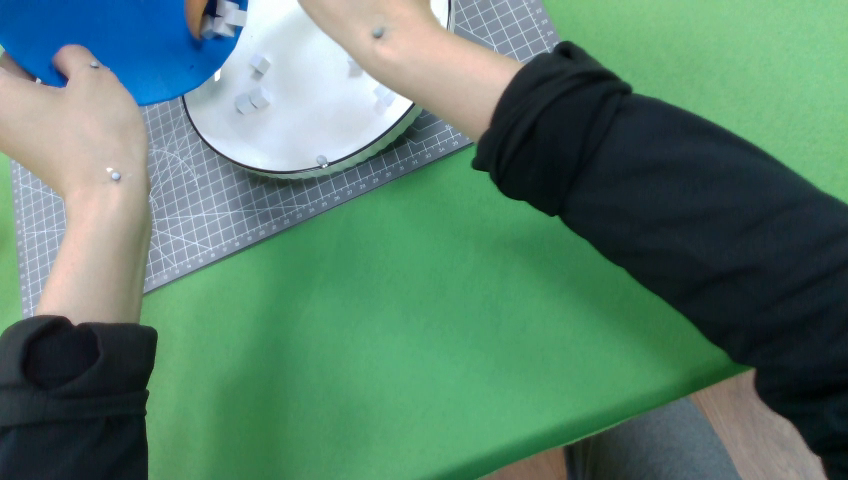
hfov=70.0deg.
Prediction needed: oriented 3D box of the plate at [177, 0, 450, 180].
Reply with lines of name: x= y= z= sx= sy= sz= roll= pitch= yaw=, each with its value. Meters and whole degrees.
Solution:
plate: x=-0.079 y=-0.137 z=0.435 sx=0.208 sy=0.038 sz=0.208 roll=-5 pitch=73 yaw=15

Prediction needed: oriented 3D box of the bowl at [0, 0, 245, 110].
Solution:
bowl: x=-0.197 y=-0.165 z=0.375 sx=0.151 sy=0.153 sz=0.076 roll=-47 pitch=44 yaw=0

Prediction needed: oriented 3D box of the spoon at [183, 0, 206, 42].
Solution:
spoon: x=-0.102 y=-0.173 z=0.331 sx=0.193 sy=0.022 sz=0.041 roll=-28 pitch=57 yaw=48
